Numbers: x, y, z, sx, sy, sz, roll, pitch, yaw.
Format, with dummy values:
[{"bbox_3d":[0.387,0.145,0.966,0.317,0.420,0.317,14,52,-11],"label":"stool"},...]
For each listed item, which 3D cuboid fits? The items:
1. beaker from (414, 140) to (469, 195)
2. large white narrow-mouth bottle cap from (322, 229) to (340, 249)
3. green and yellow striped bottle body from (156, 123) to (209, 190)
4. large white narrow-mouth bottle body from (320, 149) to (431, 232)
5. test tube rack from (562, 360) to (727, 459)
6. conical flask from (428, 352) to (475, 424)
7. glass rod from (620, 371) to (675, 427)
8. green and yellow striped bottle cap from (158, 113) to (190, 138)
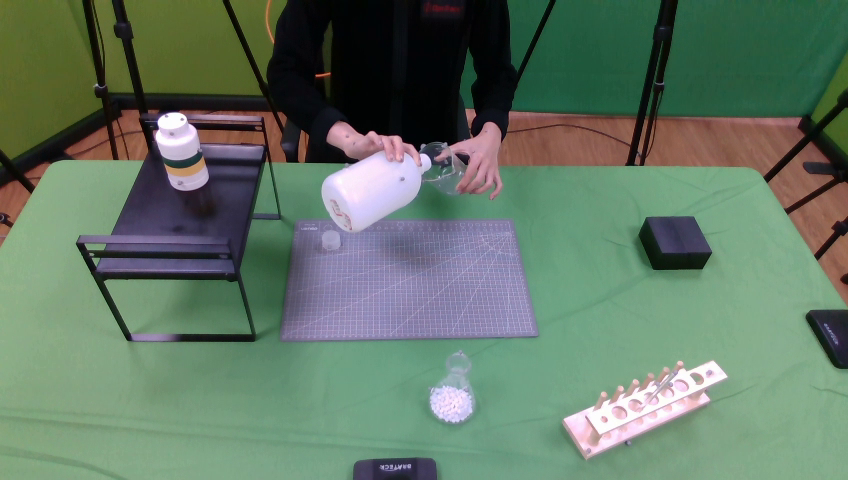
[{"bbox_3d":[0.037,-0.128,1.111,0.083,0.101,0.074,30,91,28],"label":"beaker"},{"bbox_3d":[-0.182,-0.003,1.184,0.038,0.024,0.037,3,45,-3],"label":"large white narrow-mouth bottle cap"},{"bbox_3d":[-0.395,-0.145,0.989,0.063,0.120,0.063,2,46,-2],"label":"green and yellow striped bottle body"},{"bbox_3d":[-0.069,-0.095,1.007,0.194,0.102,0.101,-30,55,-31],"label":"large white narrow-mouth bottle body"},{"bbox_3d":[0.341,0.247,0.940,0.243,0.085,0.066,-16,49,-18],"label":"test tube rack"},{"bbox_3d":[0.046,0.220,0.920,0.075,0.122,0.075,2,46,-2],"label":"conical flask"},{"bbox_3d":[0.316,0.230,0.863,0.008,0.200,0.008,3,54,-3],"label":"glass rod"},{"bbox_3d":[-0.393,-0.180,0.951,0.045,0.020,0.045,2,44,-2],"label":"green and yellow striped bottle cap"}]
